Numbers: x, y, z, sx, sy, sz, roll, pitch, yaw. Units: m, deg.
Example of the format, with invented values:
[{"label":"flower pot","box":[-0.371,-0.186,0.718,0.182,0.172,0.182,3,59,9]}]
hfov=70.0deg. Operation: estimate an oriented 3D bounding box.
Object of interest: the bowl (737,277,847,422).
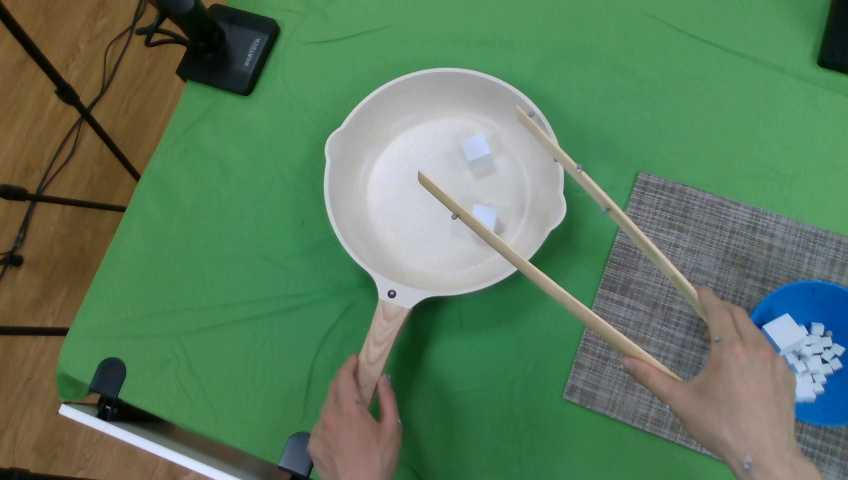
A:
[{"label":"bowl","box":[0.412,0.121,0.663,0.151,0.077,0.150,-1,76,6]}]

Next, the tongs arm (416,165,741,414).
[{"label":"tongs arm","box":[0.121,0.033,0.586,0.028,0.028,0.384,-38,60,-19]}]

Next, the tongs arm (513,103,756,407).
[{"label":"tongs arm","box":[0.183,-0.008,0.600,0.051,0.027,0.380,-30,59,-11]}]

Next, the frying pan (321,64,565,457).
[{"label":"frying pan","box":[-0.016,0.017,0.724,0.306,0.103,0.485,19,71,11]}]
